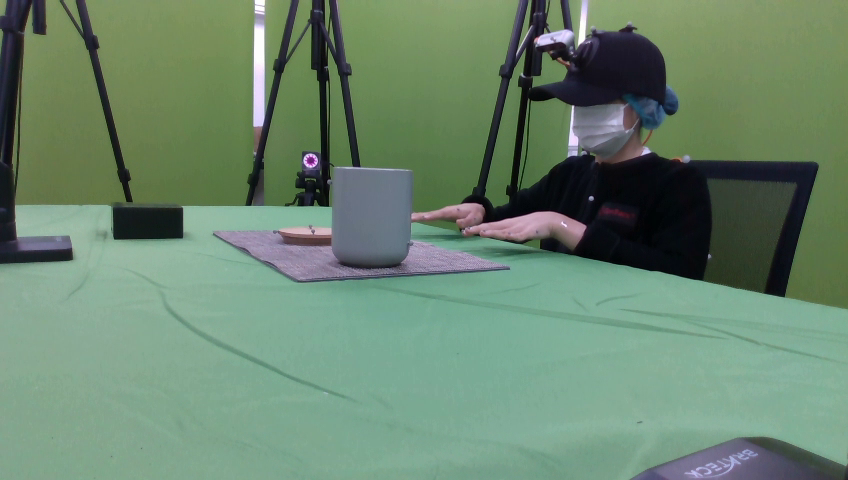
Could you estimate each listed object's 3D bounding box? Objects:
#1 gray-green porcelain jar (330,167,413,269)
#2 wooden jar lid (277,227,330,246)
[{"bbox_3d":[-0.069,-0.030,0.791,0.106,0.126,0.106,3,7,0],"label":"gray-green porcelain jar"},{"bbox_3d":[-0.183,-0.006,0.979,0.108,0.020,0.108,3,8,0],"label":"wooden jar lid"}]
